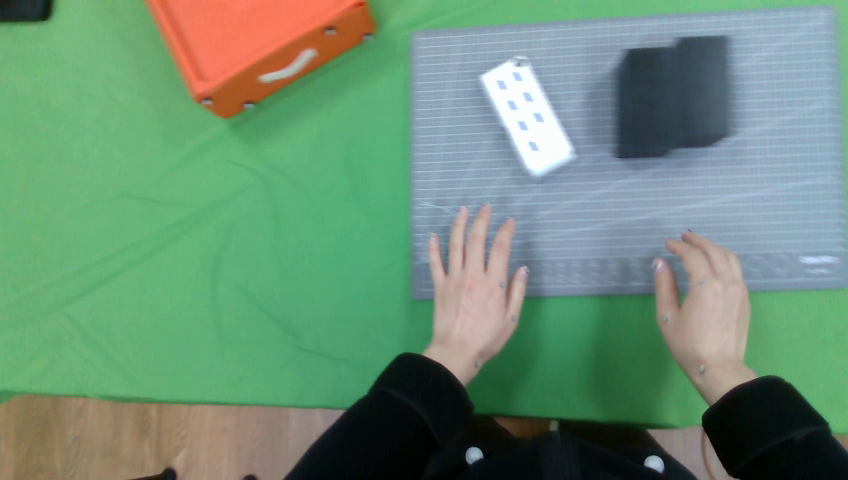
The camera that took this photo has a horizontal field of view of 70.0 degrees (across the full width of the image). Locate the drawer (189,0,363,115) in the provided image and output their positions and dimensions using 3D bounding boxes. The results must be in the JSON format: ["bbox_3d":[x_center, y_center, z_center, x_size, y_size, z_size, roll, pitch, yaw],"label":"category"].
[{"bbox_3d":[-0.202,-0.277,0.660,0.194,0.073,0.211,-30,83,3],"label":"drawer"}]

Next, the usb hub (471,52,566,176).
[{"bbox_3d":[0.101,-0.134,0.648,0.049,0.025,0.125,-28,84,1],"label":"usb hub"}]

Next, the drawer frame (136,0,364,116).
[{"bbox_3d":[-0.205,-0.279,0.659,0.201,0.083,0.213,-31,83,3],"label":"drawer frame"}]
